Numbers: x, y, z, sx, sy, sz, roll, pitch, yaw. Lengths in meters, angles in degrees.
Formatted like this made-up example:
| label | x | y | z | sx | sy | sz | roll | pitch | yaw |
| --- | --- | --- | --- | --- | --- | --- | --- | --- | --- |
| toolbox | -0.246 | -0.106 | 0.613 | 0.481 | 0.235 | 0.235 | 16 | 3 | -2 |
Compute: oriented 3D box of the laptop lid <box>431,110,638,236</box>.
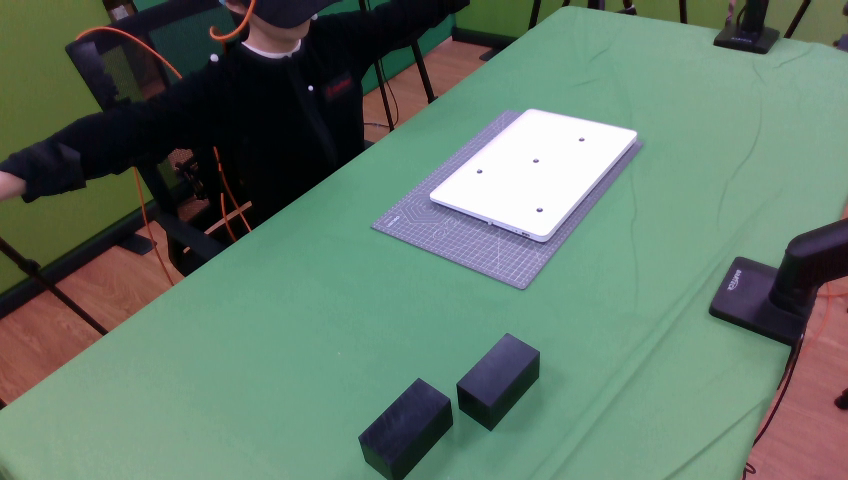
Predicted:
| label | x | y | z | sx | sy | sz | roll | pitch | yaw |
| --- | --- | --- | --- | --- | --- | --- | --- | --- | --- |
| laptop lid | 0.205 | -0.138 | 1.092 | 0.239 | 0.013 | 0.358 | 23 | 49 | 34 |

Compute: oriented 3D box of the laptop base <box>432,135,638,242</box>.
| label | x | y | z | sx | sy | sz | roll | pitch | yaw |
| --- | --- | --- | --- | --- | --- | --- | --- | --- | --- |
| laptop base | 0.208 | -0.129 | 1.098 | 0.233 | 0.023 | 0.355 | 20 | 47 | 33 |
